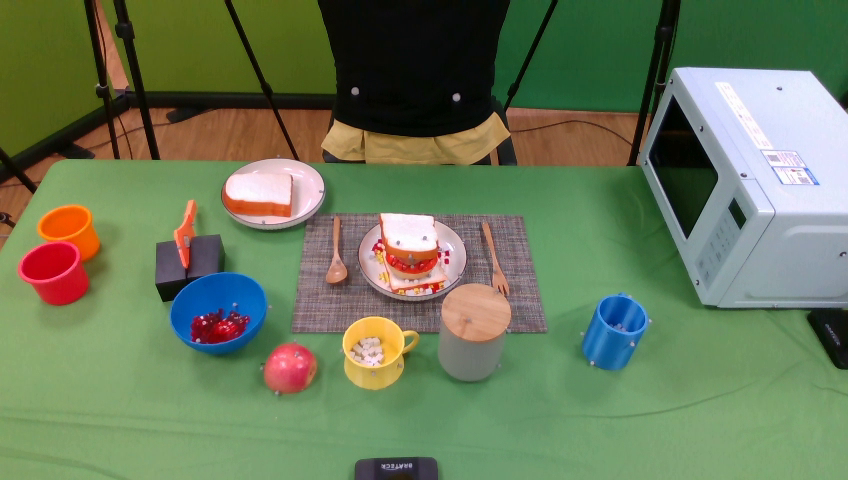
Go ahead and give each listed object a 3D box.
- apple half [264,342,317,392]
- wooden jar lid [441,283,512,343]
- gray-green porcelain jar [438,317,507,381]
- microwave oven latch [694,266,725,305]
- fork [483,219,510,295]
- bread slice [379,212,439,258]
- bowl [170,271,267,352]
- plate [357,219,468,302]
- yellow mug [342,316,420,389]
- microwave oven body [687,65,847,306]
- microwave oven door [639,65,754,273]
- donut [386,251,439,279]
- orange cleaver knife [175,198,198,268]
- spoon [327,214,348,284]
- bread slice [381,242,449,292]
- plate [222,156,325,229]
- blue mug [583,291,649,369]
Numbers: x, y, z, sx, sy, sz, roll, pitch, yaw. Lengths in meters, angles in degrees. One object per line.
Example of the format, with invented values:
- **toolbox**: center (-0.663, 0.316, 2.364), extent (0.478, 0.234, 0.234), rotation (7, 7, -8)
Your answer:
- **apple half**: center (-0.214, 0.198, 0.970), extent (0.074, 0.053, 0.080), rotation (19, 48, 11)
- **wooden jar lid**: center (0.080, 0.114, 0.931), extent (0.108, 0.021, 0.107), rotation (1, 49, -1)
- **gray-green porcelain jar**: center (0.076, 0.158, 0.977), extent (0.106, 0.127, 0.105), rotation (2, 47, -2)
- **microwave oven latch**: center (0.523, 0.082, 1.115), extent (0.030, 0.029, 0.078), rotation (3, 46, 0)
- **fork**: center (0.137, 0.029, 1.172), extent (0.028, 0.019, 0.206), rotation (-12, 48, 3)
- **bread slice**: center (-0.024, -0.012, 1.064), extent (0.105, 0.019, 0.130), rotation (3, 32, -10)
- **bowl**: center (-0.333, 0.132, 1.006), extent (0.151, 0.077, 0.150), rotation (2, 46, -2)
- **plate**: center (-0.021, 0.037, 1.141), extent (0.208, 0.039, 0.206), rotation (2, 46, -2)
- **yellow mug**: center (-0.067, 0.178, 0.990), extent (0.131, 0.064, 0.099), rotation (-16, 50, -19)
- **microwave oven body**: center (0.669, -0.111, 1.176), extent (0.326, 0.261, 0.439), rotation (0, 46, -3)
- **microwave oven door**: center (0.522, -0.147, 1.193), extent (0.039, 0.245, 0.353), rotation (0, 47, -3)
- **donut**: center (-0.021, 0.029, 1.110), extent (0.099, 0.048, 0.098), rotation (2, 47, -2)
- **orange cleaver knife**: center (-0.438, -0.017, 1.138), extent (0.012, 0.077, 0.210), rotation (-13, 27, -7)
- **spoon**: center (-0.167, 0.012, 1.164), extent (0.041, 0.022, 0.192), rotation (-19, 47, 11)
- **bread slice**: center (-0.026, 0.039, 1.139), extent (0.107, 0.018, 0.133), rotation (-12, 47, -16)
- **plate**: center (-0.308, -0.095, 1.251), extent (0.209, 0.038, 0.208), rotation (2, 47, -2)
- **blue mug**: center (0.324, 0.142, 1.023), extent (0.082, 0.106, 0.116), rotation (15, 47, 11)
